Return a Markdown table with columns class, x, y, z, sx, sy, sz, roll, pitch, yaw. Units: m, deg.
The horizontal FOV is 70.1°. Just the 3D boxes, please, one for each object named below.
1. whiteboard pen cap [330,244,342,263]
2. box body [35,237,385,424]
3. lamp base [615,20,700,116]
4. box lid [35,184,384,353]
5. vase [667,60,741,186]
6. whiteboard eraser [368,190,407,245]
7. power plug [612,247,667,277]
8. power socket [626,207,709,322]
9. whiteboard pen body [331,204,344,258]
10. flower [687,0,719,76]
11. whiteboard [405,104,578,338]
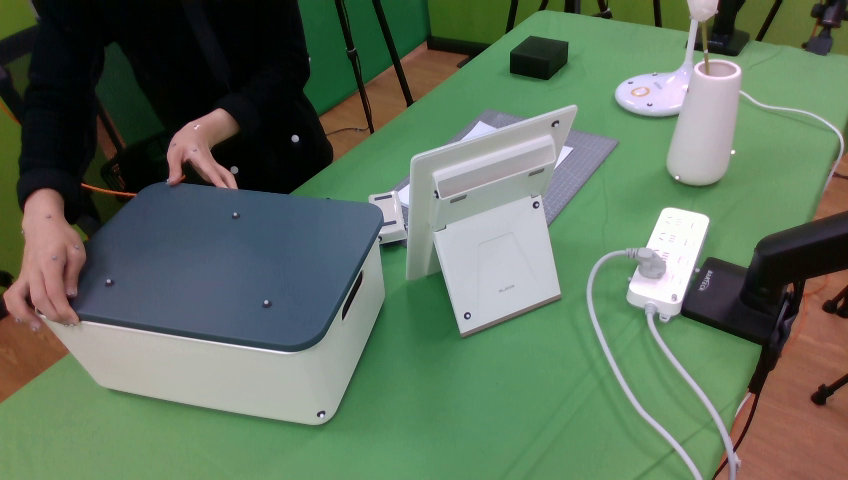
| class | x | y | z | sx | sy | sz | roll | pitch | yaw |
| --- | --- | --- | --- | --- | --- | --- | --- | --- | --- |
| whiteboard pen cap | -0.141 | 0.021 | 0.975 | 0.018 | 0.018 | 0.033 | -7 | 39 | 0 |
| box body | -0.254 | 0.081 | 0.807 | 0.363 | 0.161 | 0.253 | 5 | 42 | 14 |
| lamp base | 0.484 | -0.364 | 1.211 | 0.180 | 0.181 | 0.159 | -15 | 41 | -14 |
| box lid | -0.254 | 0.019 | 0.757 | 0.370 | 0.015 | 0.263 | 6 | 40 | 13 |
| vase | 0.463 | -0.189 | 0.994 | 0.098 | 0.201 | 0.097 | -4 | 40 | 3 |
| whiteboard eraser | -0.061 | -0.035 | 1.005 | 0.056 | 0.042 | 0.112 | -9 | 40 | -4 |
| power plug | 0.306 | 0.031 | 0.852 | 0.072 | 0.053 | 0.035 | 21 | 48 | 37 |
| power socket | 0.360 | 0.026 | 0.886 | 0.072 | 0.033 | 0.227 | 17 | 46 | 26 |
| whiteboard pen body | -0.146 | -0.016 | 1.020 | 0.017 | 0.017 | 0.140 | -6 | 40 | 1 |
| flower | 0.436 | -0.242 | 0.934 | 0.038 | 0.364 | 0.043 | -24 | 49 | 8 |
| whiteboard | 0.102 | 0.002 | 0.787 | 0.218 | 0.306 | 0.143 | -19 | 62 | -14 |
